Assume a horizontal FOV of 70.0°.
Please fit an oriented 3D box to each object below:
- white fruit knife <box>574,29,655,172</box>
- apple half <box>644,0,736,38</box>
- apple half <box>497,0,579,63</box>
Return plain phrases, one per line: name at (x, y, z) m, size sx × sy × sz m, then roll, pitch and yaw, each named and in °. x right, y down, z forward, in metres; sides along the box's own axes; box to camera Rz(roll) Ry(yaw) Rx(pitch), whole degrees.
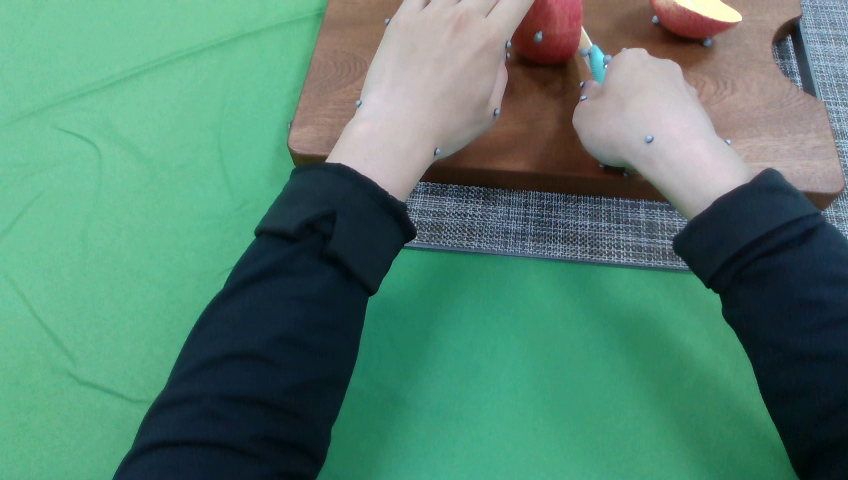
white fruit knife at (0.125, -0.132, 0.452) m, size 0.016 × 0.028 × 0.205 m, roll -13°, pitch 53°, yaw -1°
apple half at (0.200, -0.181, 0.479) m, size 0.081 × 0.033 × 0.080 m, roll 12°, pitch 45°, yaw -12°
apple half at (0.083, -0.176, 0.463) m, size 0.053 × 0.075 × 0.080 m, roll -11°, pitch 65°, yaw 3°
